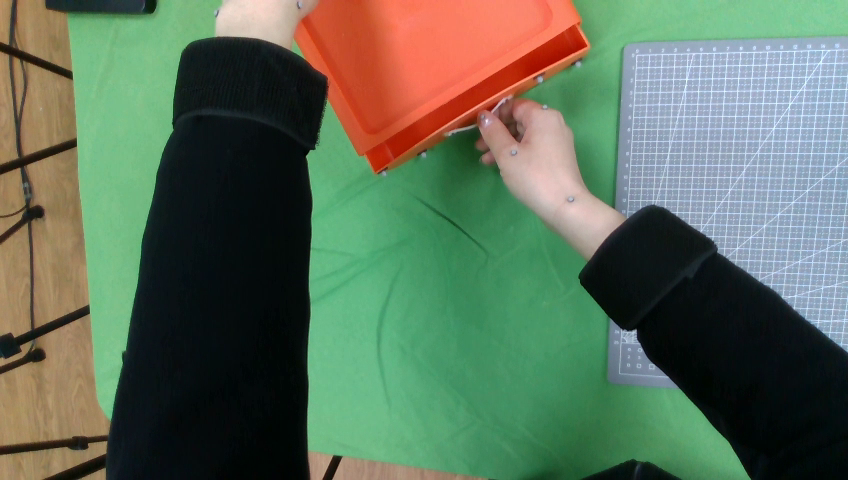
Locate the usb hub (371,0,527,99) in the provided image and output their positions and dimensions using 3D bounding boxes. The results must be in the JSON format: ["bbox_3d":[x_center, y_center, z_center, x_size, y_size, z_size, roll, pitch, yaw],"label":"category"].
[{"bbox_3d":[0.019,-0.172,0.506,0.125,0.025,0.049,-28,95,17],"label":"usb hub"}]

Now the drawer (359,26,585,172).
[{"bbox_3d":[-0.006,-0.192,0.492,0.194,0.073,0.212,-28,94,16],"label":"drawer"}]

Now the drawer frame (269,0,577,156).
[{"bbox_3d":[-0.017,-0.208,0.488,0.201,0.082,0.214,-29,94,15],"label":"drawer frame"}]
